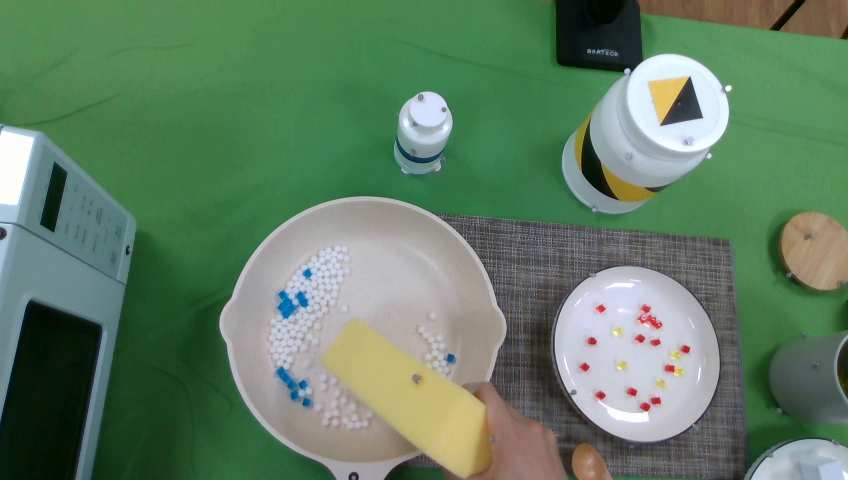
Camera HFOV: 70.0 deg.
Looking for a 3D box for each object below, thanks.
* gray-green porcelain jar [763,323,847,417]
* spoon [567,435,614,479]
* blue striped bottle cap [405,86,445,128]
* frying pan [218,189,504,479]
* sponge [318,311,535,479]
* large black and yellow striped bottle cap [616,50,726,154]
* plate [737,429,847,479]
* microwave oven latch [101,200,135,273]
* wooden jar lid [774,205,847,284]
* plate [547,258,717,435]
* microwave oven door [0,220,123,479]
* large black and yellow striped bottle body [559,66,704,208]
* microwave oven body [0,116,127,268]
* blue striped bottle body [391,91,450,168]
[{"bbox_3d":[0.480,0.155,0.715,0.106,0.127,0.105,2,75,-7],"label":"gray-green porcelain jar"},{"bbox_3d":[0.234,0.301,0.697,0.193,0.022,0.041,45,58,3],"label":"spoon"},{"bbox_3d":[0.002,-0.148,0.674,0.044,0.021,0.044,2,73,-5],"label":"blue striped bottle cap"},{"bbox_3d":[-0.069,0.186,0.641,0.307,0.103,0.484,3,68,-4],"label":"frying pan"},{"bbox_3d":[-0.006,0.154,0.594,0.061,0.205,0.119,-52,125,-13],"label":"sponge"},{"bbox_3d":[0.261,-0.147,0.641,0.115,0.019,0.114,2,74,-7],"label":"large black and yellow striped bottle cap"},{"bbox_3d":[0.458,0.329,0.715,0.208,0.039,0.206,2,76,-7],"label":"plate"},{"bbox_3d":[-0.342,-0.005,0.668,0.030,0.029,0.079,8,76,-6],"label":"microwave oven latch"},{"bbox_3d":[0.518,0.007,0.812,0.108,0.021,0.108,2,77,-7],"label":"wooden jar lid"},{"bbox_3d":[0.247,0.126,0.732,0.209,0.038,0.208,2,76,-7],"label":"plate"},{"bbox_3d":[-0.346,0.181,0.516,0.039,0.244,0.354,5,75,-6],"label":"microwave oven door"},{"bbox_3d":[0.251,-0.126,0.724,0.131,0.184,0.130,2,75,-7],"label":"large black and yellow striped bottle body"},{"bbox_3d":[-0.488,0.129,0.516,0.327,0.261,0.439,5,76,-7],"label":"microwave oven body"},{"bbox_3d":[-0.004,-0.136,0.723,0.063,0.121,0.063,2,76,-7],"label":"blue striped bottle body"}]
